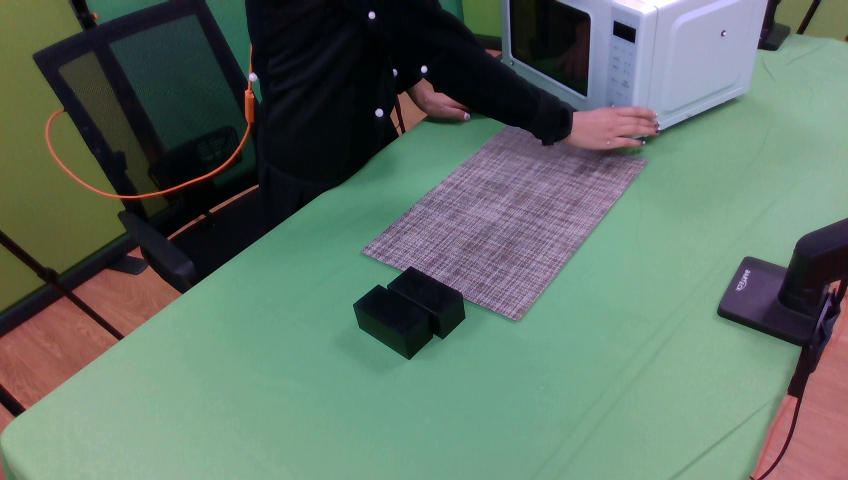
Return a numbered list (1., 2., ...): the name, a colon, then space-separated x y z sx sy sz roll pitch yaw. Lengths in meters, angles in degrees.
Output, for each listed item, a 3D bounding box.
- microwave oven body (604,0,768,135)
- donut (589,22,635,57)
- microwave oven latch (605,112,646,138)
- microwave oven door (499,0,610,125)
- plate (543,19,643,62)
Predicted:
1. microwave oven body: 0.411 -0.441 1.235 0.327 0.261 0.437 -25 42 -16
2. donut: 0.401 -0.429 1.294 0.099 0.048 0.098 4 50 -4
3. microwave oven latch: 0.375 -0.217 1.129 0.030 0.029 0.078 -24 42 -16
4. microwave oven door: 0.261 -0.410 1.219 0.039 0.245 0.352 -24 42 -17
5. plate: 0.359 -0.425 1.294 0.209 0.038 0.208 -1 36 1
